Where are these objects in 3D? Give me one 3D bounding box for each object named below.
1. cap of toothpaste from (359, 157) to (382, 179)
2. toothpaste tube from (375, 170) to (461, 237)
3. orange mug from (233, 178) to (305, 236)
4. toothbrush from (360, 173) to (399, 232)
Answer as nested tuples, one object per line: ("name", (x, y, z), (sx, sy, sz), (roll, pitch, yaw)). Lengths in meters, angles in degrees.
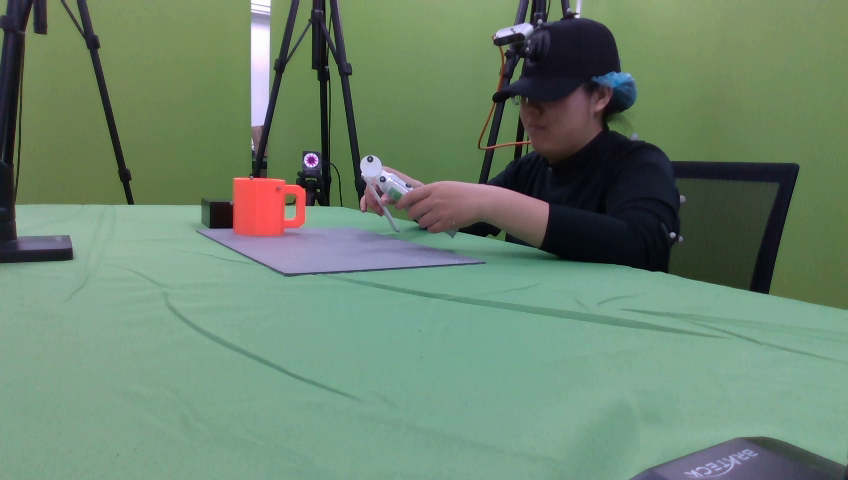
("cap of toothpaste", (-0.085, -0.115, 0.969), (0.037, 0.037, 0.011), (1, 6, -7))
("toothpaste tube", (-0.012, -0.063, 0.984), (0.165, 0.034, 0.055), (35, -21, 2))
("orange mug", (-0.273, -0.061, 1.067), (0.127, 0.101, 0.083), (-5, 10, -24))
("toothbrush", (-0.075, -0.067, 1.087), (0.014, 0.016, 0.182), (36, -15, 33))
